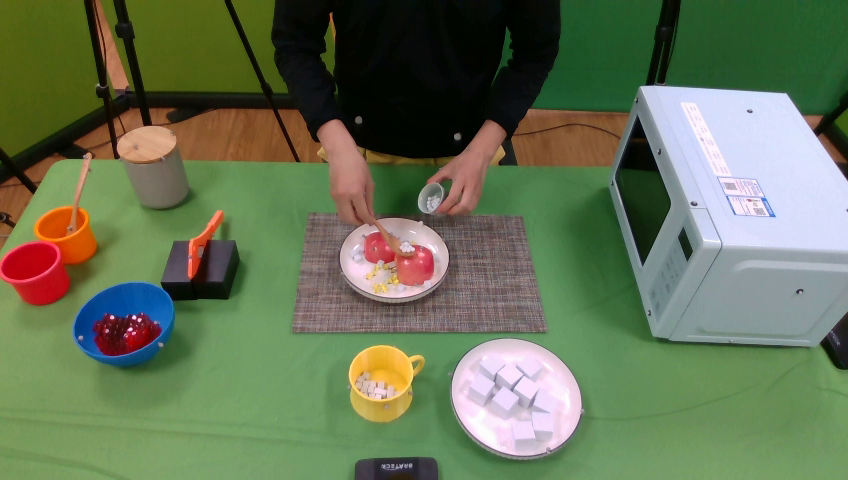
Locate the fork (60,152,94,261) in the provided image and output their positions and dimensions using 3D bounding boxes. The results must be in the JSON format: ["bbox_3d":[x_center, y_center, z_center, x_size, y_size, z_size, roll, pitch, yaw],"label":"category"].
[{"bbox_3d":[-0.638,-0.063,1.119,0.028,0.018,0.207,12,90,7],"label":"fork"}]

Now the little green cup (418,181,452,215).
[{"bbox_3d":[0.023,-0.077,1.147,0.061,0.039,0.061,-10,70,30],"label":"little green cup"}]

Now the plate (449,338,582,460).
[{"bbox_3d":[0.141,0.251,0.956,0.208,0.039,0.206,2,46,-2],"label":"plate"}]

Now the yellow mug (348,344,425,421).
[{"bbox_3d":[-0.054,0.217,0.954,0.131,0.064,0.099,-24,53,-25],"label":"yellow mug"}]

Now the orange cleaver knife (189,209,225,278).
[{"bbox_3d":[-0.400,0.002,1.122,0.012,0.077,0.210,4,23,-4],"label":"orange cleaver knife"}]

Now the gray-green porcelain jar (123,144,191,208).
[{"bbox_3d":[-0.531,-0.137,1.213,0.106,0.127,0.105,2,46,-2],"label":"gray-green porcelain jar"}]

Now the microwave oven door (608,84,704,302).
[{"bbox_3d":[0.424,-0.096,1.138,0.039,0.245,0.353,2,47,-1],"label":"microwave oven door"}]

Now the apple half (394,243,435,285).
[{"bbox_3d":[-0.016,0.036,1.120,0.075,0.053,0.080,1,46,-6],"label":"apple half"}]

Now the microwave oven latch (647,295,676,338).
[{"bbox_3d":[0.413,0.133,1.060,0.030,0.029,0.078,4,46,1],"label":"microwave oven latch"}]

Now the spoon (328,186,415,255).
[{"bbox_3d":[-0.094,-0.035,1.086,0.194,0.021,0.041,42,22,-1],"label":"spoon"}]

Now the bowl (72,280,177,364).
[{"bbox_3d":[-0.472,0.147,0.982,0.151,0.077,0.150,2,46,-2],"label":"bowl"}]

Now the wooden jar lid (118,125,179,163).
[{"bbox_3d":[-0.528,-0.181,1.167,0.108,0.021,0.107,4,48,-4],"label":"wooden jar lid"}]

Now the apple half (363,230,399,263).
[{"bbox_3d":[-0.080,0.005,1.160,0.081,0.033,0.081,3,49,-4],"label":"apple half"}]

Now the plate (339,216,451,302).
[{"bbox_3d":[-0.054,0.038,1.138,0.209,0.038,0.208,2,46,-2],"label":"plate"}]

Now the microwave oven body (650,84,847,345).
[{"bbox_3d":[0.569,-0.054,1.115,0.326,0.261,0.439,2,46,-1],"label":"microwave oven body"}]
